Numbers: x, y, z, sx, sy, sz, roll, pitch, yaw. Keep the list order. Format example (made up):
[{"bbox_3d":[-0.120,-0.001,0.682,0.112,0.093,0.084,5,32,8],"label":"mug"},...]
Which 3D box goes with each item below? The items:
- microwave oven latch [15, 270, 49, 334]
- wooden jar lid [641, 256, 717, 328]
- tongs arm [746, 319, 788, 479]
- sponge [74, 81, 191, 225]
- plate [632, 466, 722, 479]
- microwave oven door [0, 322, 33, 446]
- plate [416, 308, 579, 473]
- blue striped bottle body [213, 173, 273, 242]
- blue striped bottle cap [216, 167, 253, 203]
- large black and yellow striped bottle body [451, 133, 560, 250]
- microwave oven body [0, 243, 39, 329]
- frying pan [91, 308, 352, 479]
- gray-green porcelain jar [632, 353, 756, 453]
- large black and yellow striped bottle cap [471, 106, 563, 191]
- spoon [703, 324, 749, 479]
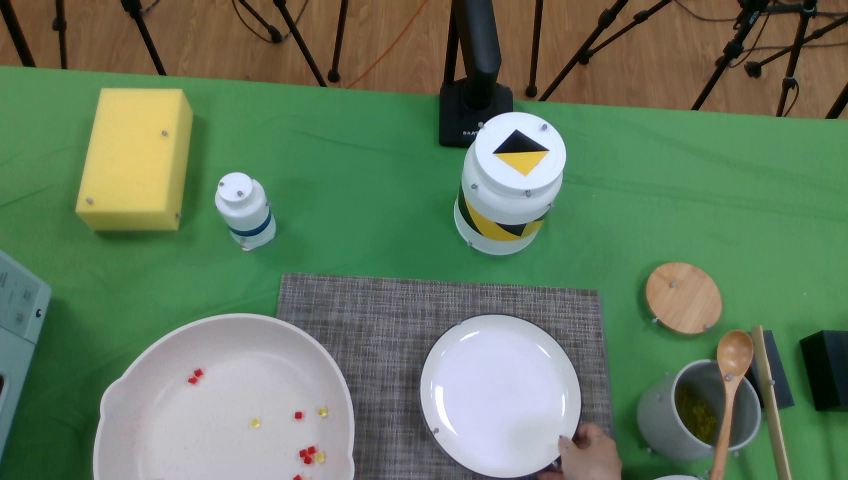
[{"bbox_3d":[-0.503,0.078,0.766,0.030,0.029,0.078,6,66,-2],"label":"microwave oven latch"},{"bbox_3d":[0.363,0.076,0.868,0.108,0.021,0.107,2,67,-3],"label":"wooden jar lid"},{"bbox_3d":[0.454,0.288,0.741,0.051,0.026,0.382,-1,76,-7],"label":"tongs arm"},{"bbox_3d":[-0.414,-0.126,0.871,0.118,0.061,0.205,-1,67,-6],"label":"sponge"},{"bbox_3d":[0.308,0.378,0.720,0.208,0.039,0.206,2,66,-3],"label":"plate"},{"bbox_3d":[-0.507,0.234,0.585,0.039,0.245,0.353,3,65,-3],"label":"microwave oven door"},{"bbox_3d":[0.093,0.191,0.778,0.209,0.038,0.207,1,64,-3],"label":"plate"},{"bbox_3d":[-0.244,-0.049,0.818,0.063,0.121,0.062,2,65,-3],"label":"blue striped bottle body"},{"bbox_3d":[-0.242,-0.071,0.772,0.044,0.021,0.044,2,67,-4],"label":"blue striped bottle cap"},{"bbox_3d":[0.109,-0.079,0.827,0.131,0.185,0.129,2,65,-4],"label":"large black and yellow striped bottle body"},{"bbox_3d":[-0.651,0.189,0.599,0.326,0.262,0.438,4,66,-3],"label":"microwave oven body"},{"bbox_3d":[-0.262,0.311,0.666,0.306,0.103,0.484,18,59,6],"label":"frying pan"},{"bbox_3d":[0.325,0.206,0.748,0.106,0.127,0.105,2,66,-3],"label":"gray-green porcelain jar"},{"bbox_3d":[0.116,-0.115,0.751,0.115,0.019,0.114,2,67,-3],"label":"large black and yellow striped bottle cap"},{"bbox_3d":[0.334,0.187,0.681,0.041,0.022,0.192,19,70,2],"label":"spoon"}]
